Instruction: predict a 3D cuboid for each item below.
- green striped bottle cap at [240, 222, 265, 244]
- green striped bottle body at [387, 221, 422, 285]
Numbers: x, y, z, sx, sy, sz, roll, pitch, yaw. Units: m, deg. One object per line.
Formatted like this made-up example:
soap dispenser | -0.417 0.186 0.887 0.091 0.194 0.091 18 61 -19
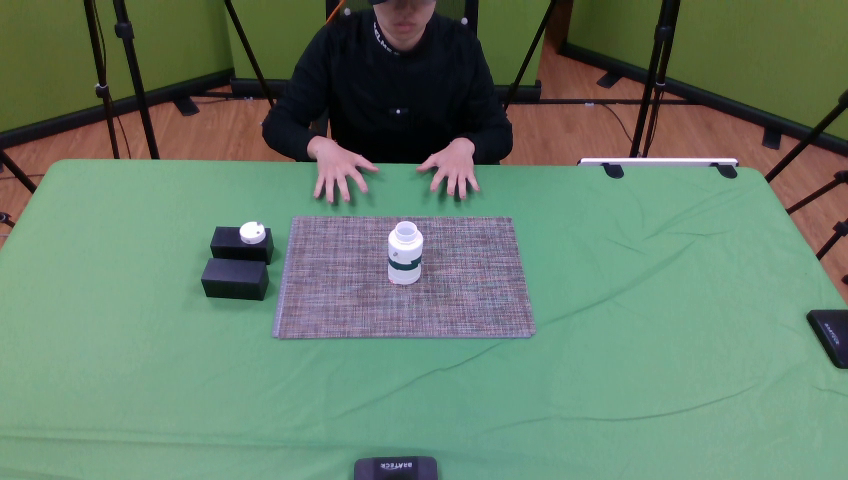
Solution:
green striped bottle cap | -0.318 -0.013 1.123 0.044 0.020 0.044 0 46 0
green striped bottle body | -0.035 0.021 1.103 0.063 0.120 0.063 2 46 -2
